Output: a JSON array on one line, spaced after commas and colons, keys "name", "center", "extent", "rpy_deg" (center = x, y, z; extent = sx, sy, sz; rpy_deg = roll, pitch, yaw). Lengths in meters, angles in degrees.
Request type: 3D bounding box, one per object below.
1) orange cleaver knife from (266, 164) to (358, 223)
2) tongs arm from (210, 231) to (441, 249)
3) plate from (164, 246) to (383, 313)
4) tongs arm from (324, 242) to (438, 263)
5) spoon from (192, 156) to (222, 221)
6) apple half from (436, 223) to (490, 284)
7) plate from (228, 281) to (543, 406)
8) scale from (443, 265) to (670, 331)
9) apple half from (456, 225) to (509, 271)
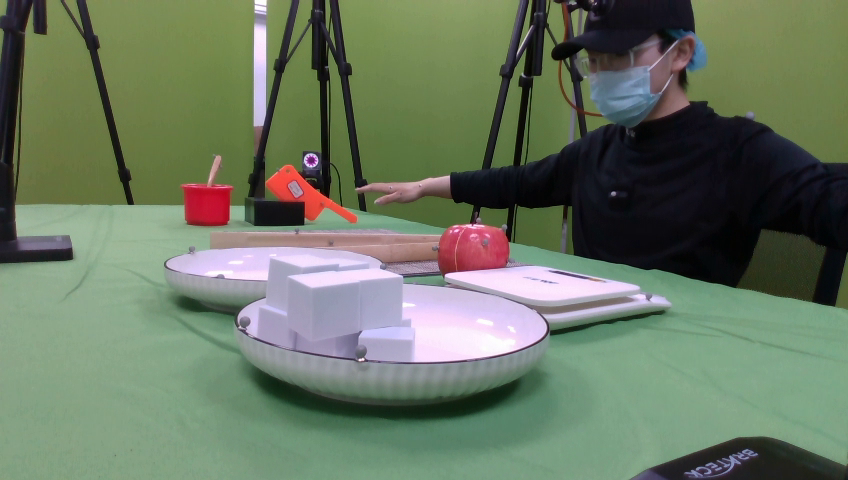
[{"name": "orange cleaver knife", "center": [-0.238, -0.082, 1.295], "extent": [0.212, 0.077, 0.012], "rpy_deg": [35, -9, -26]}, {"name": "tongs arm", "center": [-0.106, 0.004, 0.876], "extent": [0.386, 0.026, 0.050], "rpy_deg": [0, 7, -20]}, {"name": "plate", "center": [-0.145, 0.038, 0.600], "extent": [0.209, 0.038, 0.209], "rpy_deg": [2, 7, 0]}, {"name": "tongs arm", "center": [-0.070, 0.017, 0.800], "extent": [0.390, 0.028, 0.028], "rpy_deg": [-2, 5, -34]}, {"name": "spoon", "center": [-0.430, -0.108, 1.222], "extent": [0.041, 0.021, 0.193], "rpy_deg": [-1, 52, 0]}, {"name": "apple half", "center": [0.045, 0.017, 0.691], "extent": [0.081, 0.074, 0.053], "rpy_deg": [-9, 10, -41]}, {"name": "plate", "center": [-0.025, 0.067, 0.413], "extent": [0.208, 0.039, 0.207], "rpy_deg": [3, 7, 0]}, {"name": "scale", "center": [0.131, 0.052, 0.602], "extent": [0.202, 0.031, 0.148], "rpy_deg": [-2, 9, -37]}, {"name": "apple half", "center": [0.071, 0.021, 0.662], "extent": [0.082, 0.081, 0.032], "rpy_deg": [-4, 7, -42]}]
